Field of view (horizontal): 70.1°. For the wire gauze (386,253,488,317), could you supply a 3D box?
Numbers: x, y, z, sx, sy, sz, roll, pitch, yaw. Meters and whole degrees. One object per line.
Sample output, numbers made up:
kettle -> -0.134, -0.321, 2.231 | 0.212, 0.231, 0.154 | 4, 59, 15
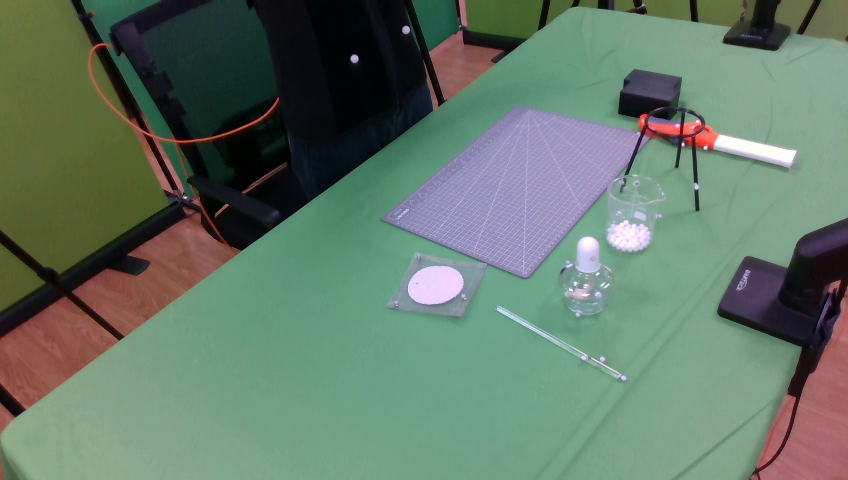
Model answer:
wire gauze -> 0.021, 0.067, 0.910 | 0.121, 0.011, 0.125 | 9, 41, 20

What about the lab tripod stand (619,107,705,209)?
lab tripod stand -> 0.400, -0.136, 0.981 | 0.148, 0.132, 0.147 | -4, 41, 4

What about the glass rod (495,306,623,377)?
glass rod -> 0.174, 0.131, 0.804 | 0.198, 0.008, 0.008 | 27, 53, 35

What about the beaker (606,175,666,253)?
beaker -> 0.314, -0.036, 0.906 | 0.083, 0.101, 0.074 | 15, 46, 25

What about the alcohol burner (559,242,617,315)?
alcohol burner -> 0.222, 0.045, 0.816 | 0.078, 0.119, 0.077 | -4, 42, 4

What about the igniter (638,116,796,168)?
igniter -> 0.517, -0.181, 1.093 | 0.274, 0.025, 0.057 | 23, 65, 32

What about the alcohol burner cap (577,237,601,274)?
alcohol burner cap -> 0.216, 0.018, 0.793 | 0.034, 0.048, 0.033 | -8, 35, 6
